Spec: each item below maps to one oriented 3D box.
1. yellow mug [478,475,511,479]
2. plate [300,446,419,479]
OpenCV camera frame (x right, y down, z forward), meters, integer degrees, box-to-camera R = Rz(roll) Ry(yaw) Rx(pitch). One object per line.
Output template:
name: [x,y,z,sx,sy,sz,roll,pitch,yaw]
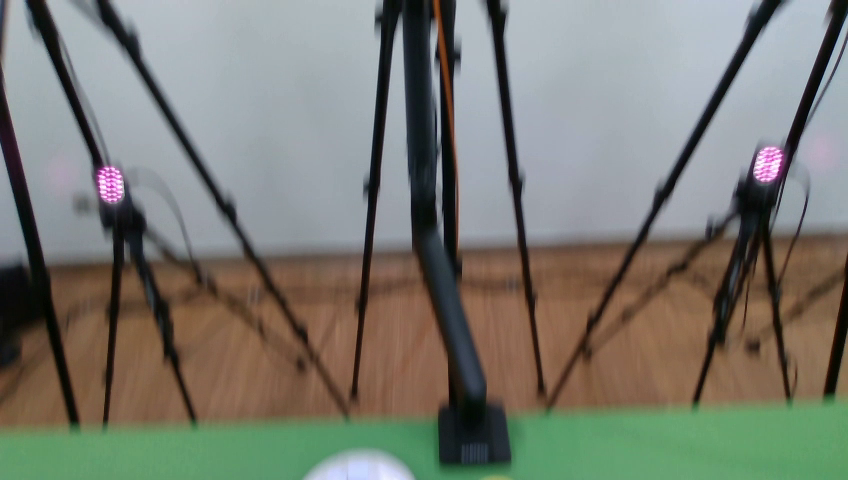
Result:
yellow mug: [0.092,0.415,0.887,0.131,0.064,0.099,-23,42,-23]
plate: [-0.102,0.414,0.922,0.208,0.039,0.205,-1,37,1]
